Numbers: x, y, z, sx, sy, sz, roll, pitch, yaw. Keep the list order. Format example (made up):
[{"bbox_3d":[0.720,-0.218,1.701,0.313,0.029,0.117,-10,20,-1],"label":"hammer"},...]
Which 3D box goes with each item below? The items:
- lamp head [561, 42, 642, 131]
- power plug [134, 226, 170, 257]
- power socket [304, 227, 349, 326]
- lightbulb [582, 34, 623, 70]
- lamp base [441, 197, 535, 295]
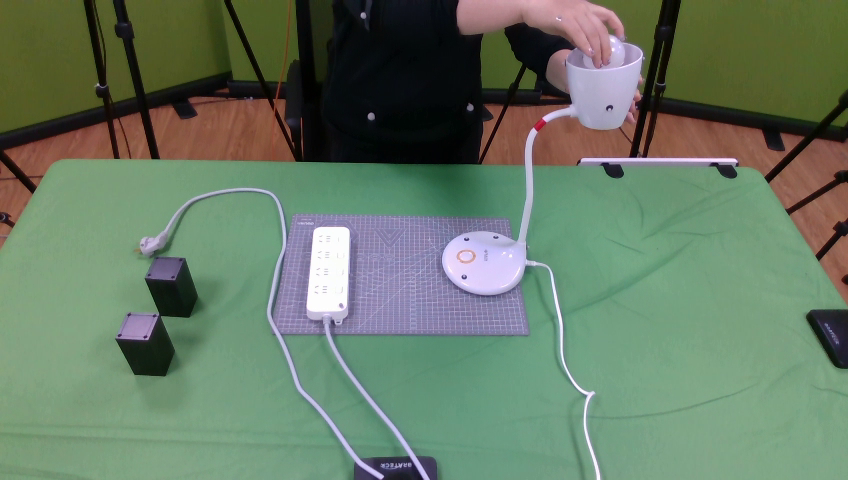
[{"bbox_3d":[0.270,-0.230,0.934,0.112,0.123,0.112,-2,37,2],"label":"lamp head"},{"bbox_3d":[-0.515,0.006,1.153,0.052,0.035,0.072,-6,24,7],"label":"power plug"},{"bbox_3d":[-0.177,0.059,1.115,0.072,0.033,0.225,-1,46,-4],"label":"power socket"},{"bbox_3d":[0.270,-0.256,0.919,0.059,0.108,0.059,-7,32,4],"label":"lightbulb"},{"bbox_3d":[0.130,-0.012,1.105,0.179,0.181,0.159,-1,46,-9],"label":"lamp base"}]
